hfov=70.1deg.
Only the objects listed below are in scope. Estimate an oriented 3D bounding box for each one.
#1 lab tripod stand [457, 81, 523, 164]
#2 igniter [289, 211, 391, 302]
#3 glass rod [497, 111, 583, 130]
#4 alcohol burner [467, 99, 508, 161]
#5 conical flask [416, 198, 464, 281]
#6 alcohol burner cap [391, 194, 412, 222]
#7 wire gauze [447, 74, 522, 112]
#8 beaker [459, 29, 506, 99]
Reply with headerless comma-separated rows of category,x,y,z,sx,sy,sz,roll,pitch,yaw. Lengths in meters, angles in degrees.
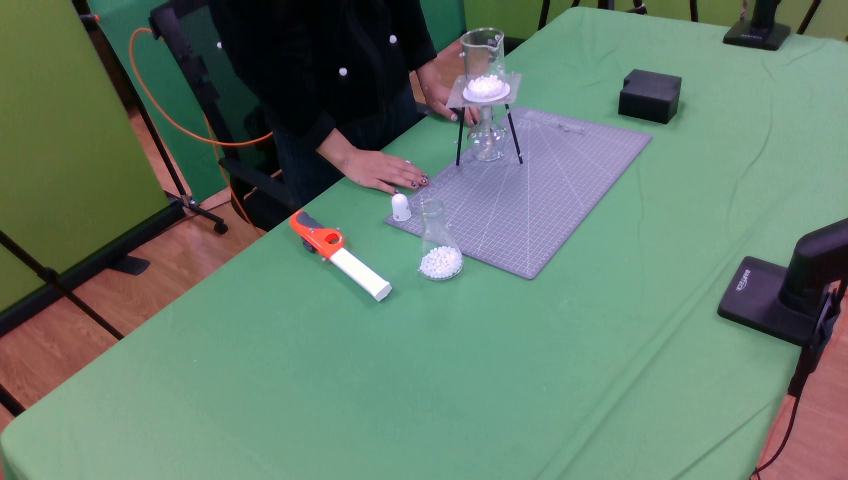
lab tripod stand,0.120,-0.219,1.129,0.148,0.132,0.147,-7,39,6
igniter,-0.146,0.019,0.986,0.057,0.025,0.274,-40,48,-18
glass rod,0.233,-0.245,1.235,0.198,0.008,0.008,20,49,34
alcohol burner,0.119,-0.210,1.134,0.078,0.119,0.077,-4,39,4
conical flask,0.019,-0.004,0.907,0.075,0.122,0.075,-5,40,5
alcohol burner cap,-0.041,-0.057,1.040,0.034,0.048,0.033,-6,40,5
wire gauze,0.110,-0.268,1.087,0.121,0.011,0.125,1,42,15
beaker,0.107,-0.305,1.056,0.074,0.101,0.083,-27,43,-18
